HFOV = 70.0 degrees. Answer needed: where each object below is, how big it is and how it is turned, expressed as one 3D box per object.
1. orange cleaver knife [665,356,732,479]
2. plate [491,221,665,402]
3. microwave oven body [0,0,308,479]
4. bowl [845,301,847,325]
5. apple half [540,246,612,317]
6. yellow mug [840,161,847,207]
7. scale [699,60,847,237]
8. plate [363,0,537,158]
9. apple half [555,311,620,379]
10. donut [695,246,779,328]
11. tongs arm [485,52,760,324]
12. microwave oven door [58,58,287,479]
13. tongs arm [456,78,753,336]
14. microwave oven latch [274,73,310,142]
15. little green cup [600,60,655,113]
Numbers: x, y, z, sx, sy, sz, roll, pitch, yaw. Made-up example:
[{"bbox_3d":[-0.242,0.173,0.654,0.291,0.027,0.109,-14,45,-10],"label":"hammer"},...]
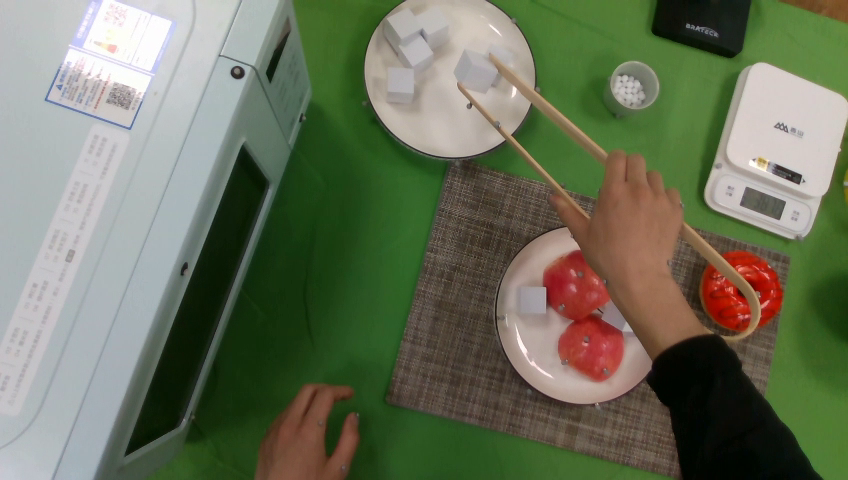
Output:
[{"bbox_3d":[0.332,0.247,0.723,0.077,0.012,0.210,-2,83,-11],"label":"orange cleaver knife"},{"bbox_3d":[0.178,0.083,0.714,0.209,0.038,0.208,1,84,-6],"label":"plate"},{"bbox_3d":[-0.339,-0.046,0.559,0.326,0.260,0.440,19,83,-4],"label":"microwave oven body"},{"bbox_3d":[0.580,0.091,0.742,0.151,0.077,0.151,1,84,-6],"label":"bowl"},{"bbox_3d":[0.179,0.046,0.703,0.081,0.053,0.074,-29,85,-9],"label":"apple half"},{"bbox_3d":[0.593,-0.089,0.768,0.100,0.064,0.130,-17,85,-7],"label":"yellow mug"},{"bbox_3d":[0.445,-0.116,0.772,0.149,0.031,0.200,20,83,-3],"label":"scale"},{"bbox_3d":[0.030,-0.197,0.732,0.208,0.039,0.207,1,84,-6],"label":"plate"},{"bbox_3d":[0.196,0.120,0.706,0.081,0.033,0.081,0,85,-2],"label":"apple half"},{"bbox_3d":[0.378,0.057,0.736,0.099,0.048,0.099,0,84,-4],"label":"donut"},{"bbox_3d":[0.187,-0.068,0.613,0.028,0.028,0.384,-40,70,-4],"label":"tongs arm"},{"bbox_3d":[-0.214,0.040,0.558,0.039,0.244,0.355,18,82,-4],"label":"microwave oven door"},{"bbox_3d":[0.166,-0.049,0.612,0.051,0.027,0.382,-38,70,0],"label":"tongs arm"},{"bbox_3d":[-0.154,-0.154,0.688,0.030,0.029,0.079,21,83,-4],"label":"microwave oven latch"},{"bbox_3d":[0.251,-0.189,0.755,0.061,0.038,0.061,1,83,-6],"label":"little green cup"}]
